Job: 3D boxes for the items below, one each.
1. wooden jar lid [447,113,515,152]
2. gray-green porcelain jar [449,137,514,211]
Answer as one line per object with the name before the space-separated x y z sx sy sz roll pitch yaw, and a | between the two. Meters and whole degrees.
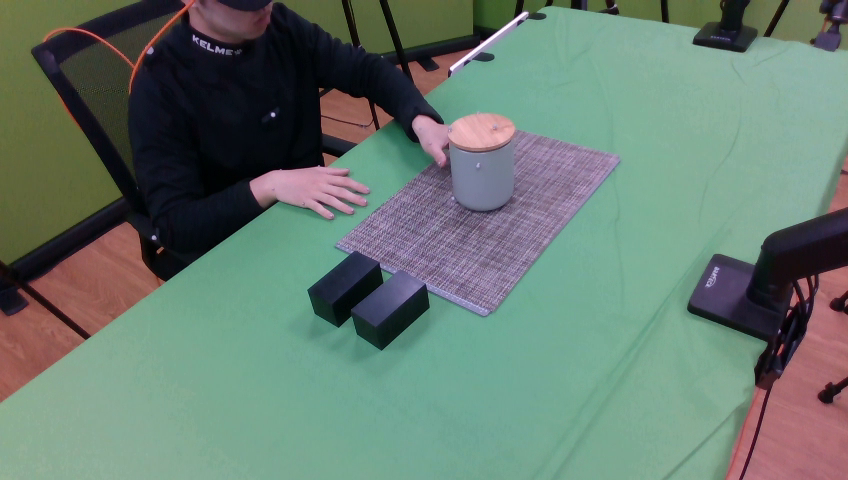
wooden jar lid | 0.091 -0.169 0.967 0.108 0.021 0.108 -5 39 4
gray-green porcelain jar | 0.097 -0.120 1.009 0.106 0.127 0.105 -4 41 4
